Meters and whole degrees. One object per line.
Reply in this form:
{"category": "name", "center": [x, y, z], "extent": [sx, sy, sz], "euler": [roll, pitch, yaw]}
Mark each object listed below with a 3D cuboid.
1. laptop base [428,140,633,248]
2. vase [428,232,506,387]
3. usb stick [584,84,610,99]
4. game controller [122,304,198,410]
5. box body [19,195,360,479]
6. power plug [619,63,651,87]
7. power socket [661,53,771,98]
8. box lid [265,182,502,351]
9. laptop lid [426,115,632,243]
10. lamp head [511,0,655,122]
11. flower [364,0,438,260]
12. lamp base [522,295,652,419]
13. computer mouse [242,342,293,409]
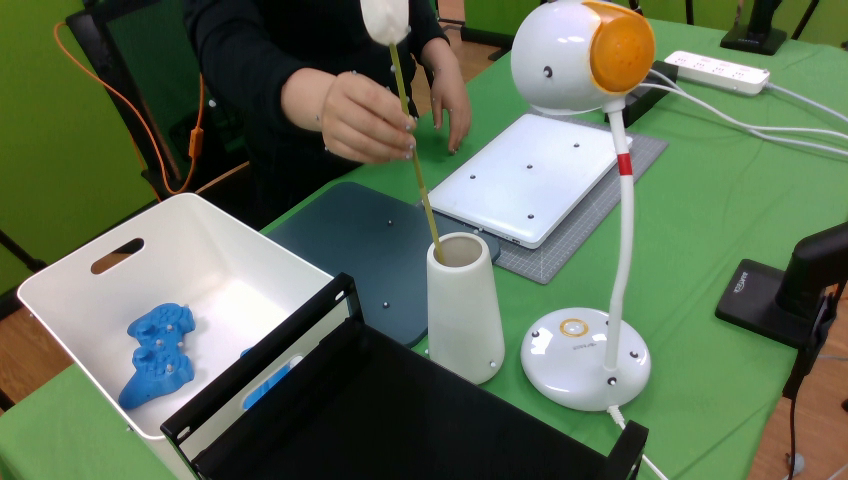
{"category": "laptop base", "center": [0.193, -0.117, 1.087], "extent": [0.233, 0.023, 0.355], "euler": [20, 47, 35]}
{"category": "vase", "center": [0.050, 0.087, 0.727], "extent": [0.098, 0.201, 0.097], "euler": [-3, 40, 3]}
{"category": "usb stick", "center": [0.354, -0.306, 1.252], "extent": [0.027, 0.021, 0.058], "euler": [1, 1, -40]}
{"category": "game controller", "center": [-0.363, 0.150, 0.828], "extent": [0.097, 0.052, 0.154], "euler": [-14, 42, -9]}
{"category": "box body", "center": [-0.287, 0.118, 0.772], "extent": [0.361, 0.161, 0.255], "euler": [26, 50, 33]}
{"category": "power plug", "center": [0.435, -0.341, 1.265], "extent": [0.035, 0.053, 0.072], "euler": [6, 30, -14]}
{"category": "power socket", "center": [0.617, -0.355, 1.292], "extent": [0.225, 0.033, 0.072], "euler": [29, 53, 35]}
{"category": "box lid", "center": [-0.087, 0.023, 0.970], "extent": [0.368, 0.015, 0.264], "euler": [23, 49, 31]}
{"category": "laptop lid", "center": [0.190, -0.126, 1.081], "extent": [0.239, 0.013, 0.358], "euler": [23, 49, 34]}
{"category": "lamp head", "center": [0.156, -0.168, 0.563], "extent": [0.113, 0.113, 0.122], "euler": [-18, 23, -12]}
{"category": "flower", "center": [-0.007, -0.080, 0.591], "extent": [0.038, 0.363, 0.044], "euler": [14, 47, 26]}
{"category": "lamp base", "center": [0.201, 0.095, 0.709], "extent": [0.161, 0.181, 0.178], "euler": [-16, 43, -10]}
{"category": "computer mouse", "center": [-0.200, 0.178, 0.776], "extent": [0.063, 0.041, 0.116], "euler": [-11, 43, -8]}
